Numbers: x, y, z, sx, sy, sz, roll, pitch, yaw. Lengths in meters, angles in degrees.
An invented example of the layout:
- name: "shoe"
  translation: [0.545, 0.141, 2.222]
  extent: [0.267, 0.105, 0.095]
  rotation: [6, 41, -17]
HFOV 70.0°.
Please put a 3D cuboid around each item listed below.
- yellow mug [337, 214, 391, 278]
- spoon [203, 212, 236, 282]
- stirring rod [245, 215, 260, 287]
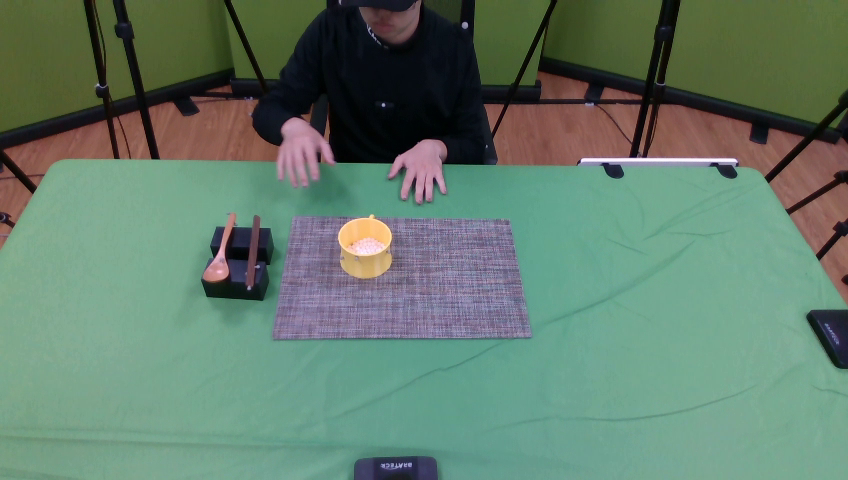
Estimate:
- name: "yellow mug"
  translation: [-0.110, 0.003, 1.152]
  extent: [0.100, 0.064, 0.130]
  rotation: [7, 45, 2]
- name: "spoon"
  translation: [-0.361, 0.009, 1.097]
  extent: [0.041, 0.022, 0.192]
  rotation: [0, 44, -2]
- name: "stirring rod"
  translation: [-0.310, 0.017, 1.096]
  extent: [0.014, 0.006, 0.175]
  rotation: [27, 36, -32]
